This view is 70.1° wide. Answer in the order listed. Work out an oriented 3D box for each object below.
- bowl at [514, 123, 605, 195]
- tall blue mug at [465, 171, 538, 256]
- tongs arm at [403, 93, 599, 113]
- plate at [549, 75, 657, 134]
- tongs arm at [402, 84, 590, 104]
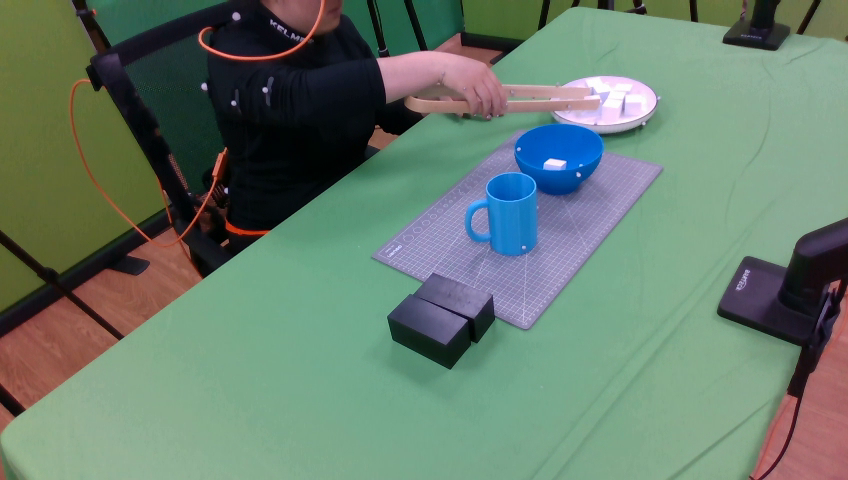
[{"bbox_3d":[0.232,-0.131,1.046,0.151,0.077,0.150,-5,40,5],"label":"bowl"},{"bbox_3d":[0.125,-0.033,0.925,0.107,0.108,0.077,-32,46,-25],"label":"tall blue mug"},{"bbox_3d":[0.153,-0.257,1.140,0.389,0.028,0.028,-3,50,-15],"label":"tongs arm"},{"bbox_3d":[0.357,-0.269,1.220,0.209,0.038,0.208,-5,41,5],"label":"plate"},{"bbox_3d":[0.147,-0.276,1.159,0.386,0.026,0.050,-1,46,-13],"label":"tongs arm"}]
